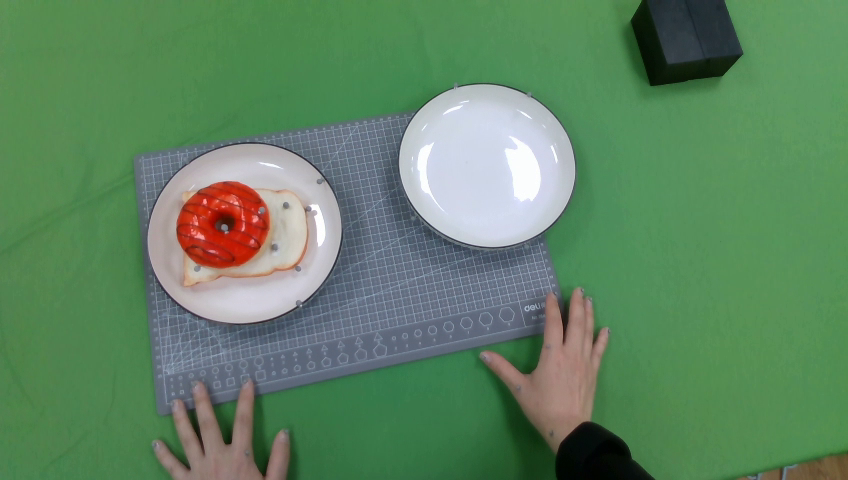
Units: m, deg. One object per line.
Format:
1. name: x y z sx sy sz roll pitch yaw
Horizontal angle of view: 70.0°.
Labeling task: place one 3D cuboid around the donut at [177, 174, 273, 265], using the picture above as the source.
1. donut: -0.210 -0.022 0.643 0.099 0.048 0.098 1 75 -2

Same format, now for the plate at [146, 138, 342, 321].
1. plate: -0.194 -0.011 0.670 0.209 0.038 0.208 1 74 -4

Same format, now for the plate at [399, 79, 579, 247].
1. plate: 0.074 -0.088 0.710 0.208 0.039 0.206 1 74 -3

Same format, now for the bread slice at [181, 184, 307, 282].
1. bread slice: -0.199 -0.014 0.671 0.134 0.018 0.106 -8 75 -8
